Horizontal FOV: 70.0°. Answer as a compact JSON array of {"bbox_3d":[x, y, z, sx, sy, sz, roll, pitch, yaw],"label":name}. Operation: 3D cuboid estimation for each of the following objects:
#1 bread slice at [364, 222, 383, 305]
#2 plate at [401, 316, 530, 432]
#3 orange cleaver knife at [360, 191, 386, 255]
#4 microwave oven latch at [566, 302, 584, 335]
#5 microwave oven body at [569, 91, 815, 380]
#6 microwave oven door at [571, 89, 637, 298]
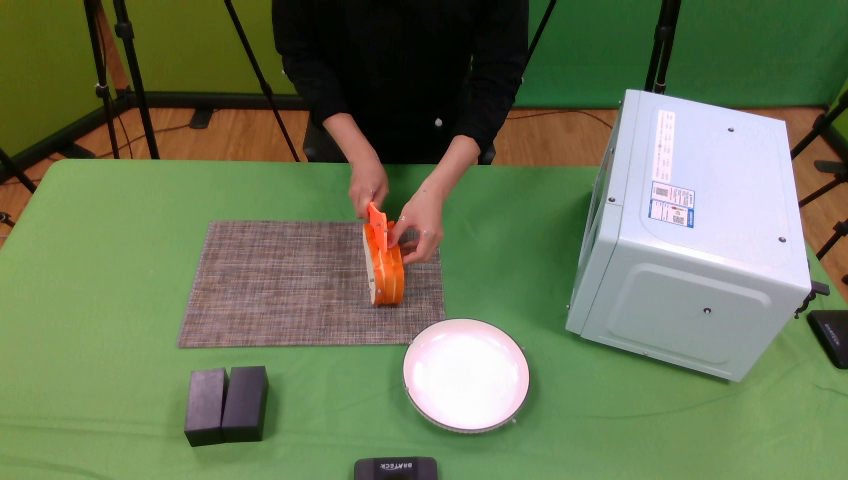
[{"bbox_3d":[-0.091,0.047,1.081,0.018,0.107,0.133,-5,49,-11],"label":"bread slice"},{"bbox_3d":[0.066,0.217,0.982,0.208,0.039,0.206,2,46,-2],"label":"plate"},{"bbox_3d":[-0.092,-0.035,1.087,0.012,0.077,0.210,-2,20,-16],"label":"orange cleaver knife"},{"bbox_3d":[0.268,0.126,1.059,0.030,0.029,0.079,16,46,12],"label":"microwave oven latch"},{"bbox_3d":[0.468,-0.022,1.082,0.325,0.261,0.440,15,46,11],"label":"microwave oven body"},{"bbox_3d":[0.343,-0.091,1.132,0.039,0.245,0.354,15,47,10],"label":"microwave oven door"}]
